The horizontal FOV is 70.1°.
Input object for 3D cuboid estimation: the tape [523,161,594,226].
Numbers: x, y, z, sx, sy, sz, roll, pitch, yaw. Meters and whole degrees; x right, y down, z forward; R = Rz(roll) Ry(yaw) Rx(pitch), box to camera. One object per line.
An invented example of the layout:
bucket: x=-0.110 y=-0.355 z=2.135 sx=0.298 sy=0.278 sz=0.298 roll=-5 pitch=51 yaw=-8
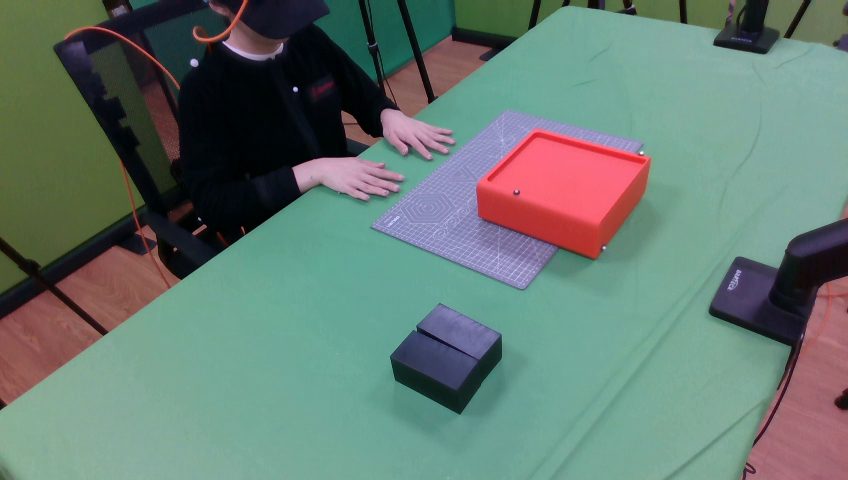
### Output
tape: x=0.221 y=-0.078 z=0.995 sx=0.117 sy=0.053 sz=0.116 roll=-4 pitch=40 yaw=4

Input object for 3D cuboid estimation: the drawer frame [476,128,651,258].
drawer frame: x=0.229 y=-0.086 z=0.992 sx=0.212 sy=0.083 sz=0.202 roll=22 pitch=48 yaw=29

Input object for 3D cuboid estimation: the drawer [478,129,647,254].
drawer: x=0.227 y=-0.085 z=0.994 sx=0.210 sy=0.073 sz=0.195 roll=23 pitch=48 yaw=30
